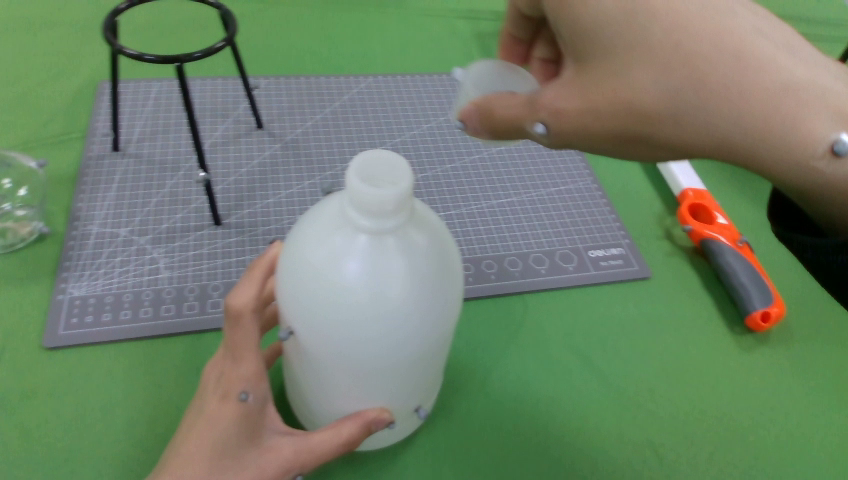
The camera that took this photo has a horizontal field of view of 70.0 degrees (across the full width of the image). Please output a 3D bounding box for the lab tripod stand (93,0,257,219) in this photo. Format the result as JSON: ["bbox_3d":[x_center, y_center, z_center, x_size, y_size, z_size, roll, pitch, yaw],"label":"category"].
[{"bbox_3d":[-0.186,-0.110,0.468,0.149,0.132,0.147,6,49,-7],"label":"lab tripod stand"}]

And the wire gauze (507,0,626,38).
[{"bbox_3d":[0.149,-0.263,0.680,0.122,0.011,0.123,-4,50,-14],"label":"wire gauze"}]

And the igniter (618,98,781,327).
[{"bbox_3d":[0.243,-0.038,0.551,0.057,0.025,0.273,4,48,-20],"label":"igniter"}]

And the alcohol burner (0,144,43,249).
[{"bbox_3d":[-0.310,-0.049,0.412,0.078,0.120,0.077,6,47,-6],"label":"alcohol burner"}]

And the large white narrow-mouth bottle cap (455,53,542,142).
[{"bbox_3d":[0.033,-0.063,0.269,0.038,0.024,0.037,4,49,-5],"label":"large white narrow-mouth bottle cap"}]

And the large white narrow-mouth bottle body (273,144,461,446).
[{"bbox_3d":[-0.031,0.031,0.335,0.102,0.196,0.101,4,49,-4],"label":"large white narrow-mouth bottle body"}]
